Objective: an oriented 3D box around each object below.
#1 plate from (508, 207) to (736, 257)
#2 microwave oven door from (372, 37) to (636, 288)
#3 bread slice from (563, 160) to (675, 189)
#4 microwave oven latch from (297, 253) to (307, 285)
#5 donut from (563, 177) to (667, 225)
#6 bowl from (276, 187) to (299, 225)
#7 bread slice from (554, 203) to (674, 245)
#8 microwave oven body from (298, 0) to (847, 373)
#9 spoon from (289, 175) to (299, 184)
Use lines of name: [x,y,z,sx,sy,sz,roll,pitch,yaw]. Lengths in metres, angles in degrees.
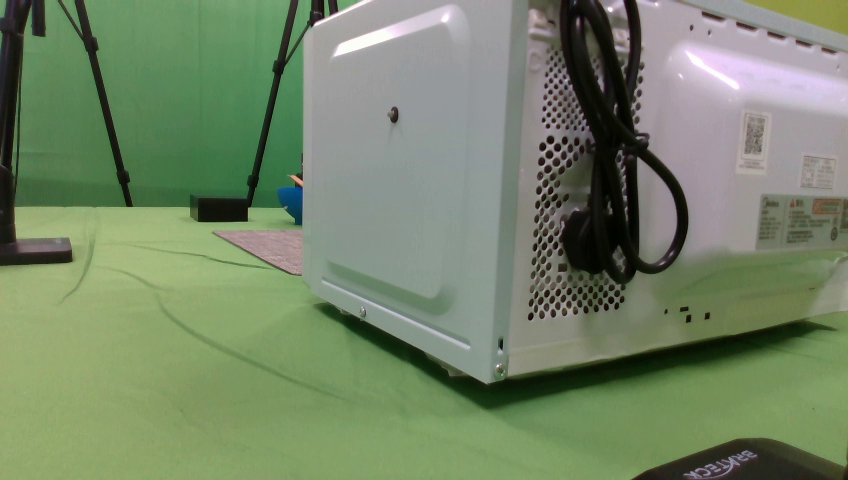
plate: [0.186,-0.010,0.588,0.208,0.039,0.207,1,5,0]
microwave oven door: [0.109,-0.080,0.686,0.358,0.243,0.039,-2,9,-33]
bread slice: [0.187,-0.063,0.578,0.104,0.019,0.132,7,6,15]
microwave oven latch: [-0.082,0.027,0.582,0.079,0.029,0.030,-1,7,-33]
donut: [0.184,-0.037,0.587,0.099,0.048,0.099,-2,3,0]
bowl: [-0.241,-0.073,1.302,0.151,0.077,0.151,2,7,0]
bread slice: [0.183,-0.017,0.579,0.107,0.018,0.134,-5,10,9]
microwave oven body: [0.151,-0.055,0.542,0.444,0.260,0.324,-1,7,-33]
spoon: [-0.261,-0.111,1.343,0.042,0.021,0.192,-8,33,-30]
